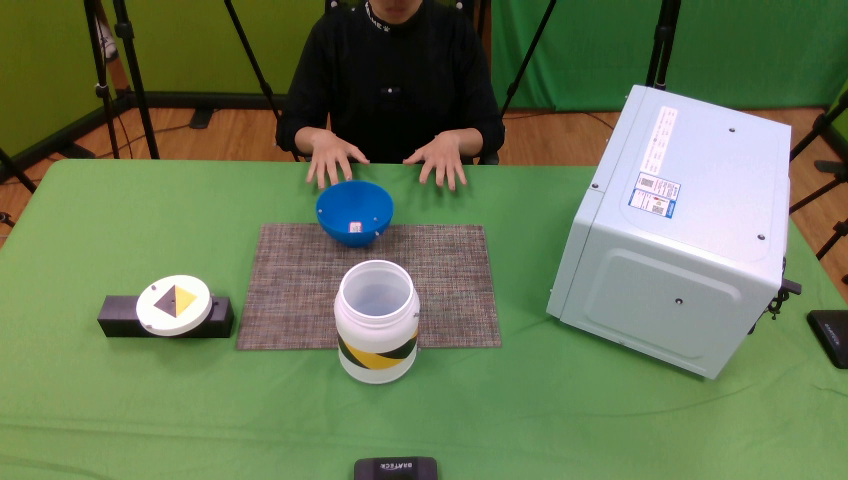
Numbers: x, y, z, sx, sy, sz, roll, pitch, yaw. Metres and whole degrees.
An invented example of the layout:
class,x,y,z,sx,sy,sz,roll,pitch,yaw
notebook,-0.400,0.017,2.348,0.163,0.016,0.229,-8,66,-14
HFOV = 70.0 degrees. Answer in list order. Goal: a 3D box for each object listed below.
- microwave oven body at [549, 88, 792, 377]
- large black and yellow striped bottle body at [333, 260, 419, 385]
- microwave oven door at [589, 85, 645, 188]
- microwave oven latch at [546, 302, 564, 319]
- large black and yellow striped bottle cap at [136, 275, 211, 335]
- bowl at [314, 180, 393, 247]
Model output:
class,x,y,z,sx,sy,sz,roll,pitch,yaw
microwave oven body,0.456,-0.028,1.088,0.325,0.261,0.440,20,47,16
large black and yellow striped bottle body,-0.075,0.129,0.950,0.131,0.185,0.130,2,49,-2
microwave oven door,0.341,-0.107,1.149,0.039,0.245,0.354,20,48,15
microwave oven latch,0.242,0.102,1.081,0.030,0.029,0.079,21,48,17
large black and yellow striped bottle cap,-0.412,0.105,0.999,0.115,0.019,0.114,3,46,-3
bowl,-0.135,-0.039,1.180,0.151,0.077,0.150,3,46,-2
